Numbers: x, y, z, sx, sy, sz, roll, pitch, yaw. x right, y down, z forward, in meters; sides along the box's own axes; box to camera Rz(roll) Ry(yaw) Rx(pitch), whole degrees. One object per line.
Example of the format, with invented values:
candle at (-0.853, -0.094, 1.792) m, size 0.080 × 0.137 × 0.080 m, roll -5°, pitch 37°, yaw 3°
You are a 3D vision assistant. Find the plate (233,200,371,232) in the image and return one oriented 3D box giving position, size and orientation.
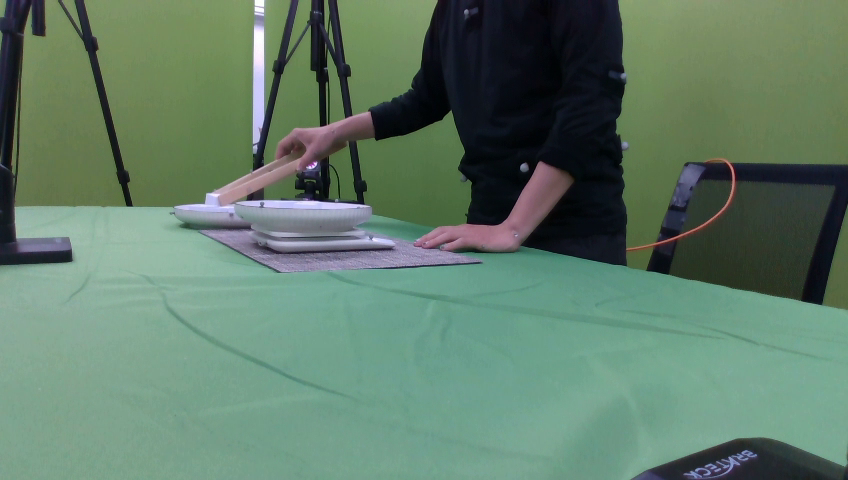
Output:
plate at (-0.188, -0.039, 0.939) m, size 0.209 × 0.038 × 0.209 m, roll 2°, pitch 7°, yaw 0°

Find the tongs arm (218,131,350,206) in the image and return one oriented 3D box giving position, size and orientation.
tongs arm at (-0.296, -0.166, 1.347) m, size 0.028 × 0.028 × 0.389 m, roll 9°, pitch 32°, yaw 39°

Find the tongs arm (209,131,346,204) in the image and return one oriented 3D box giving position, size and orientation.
tongs arm at (-0.314, -0.170, 1.360) m, size 0.050 × 0.026 × 0.386 m, roll 10°, pitch 33°, yaw 33°

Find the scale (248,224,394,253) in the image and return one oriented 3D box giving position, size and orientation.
scale at (-0.162, -0.006, 0.954) m, size 0.202 × 0.031 × 0.148 m, roll -2°, pitch 8°, yaw -32°

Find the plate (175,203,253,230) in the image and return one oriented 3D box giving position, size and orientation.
plate at (-0.381, -0.047, 1.199) m, size 0.208 × 0.039 × 0.207 m, roll 3°, pitch 7°, yaw 0°
